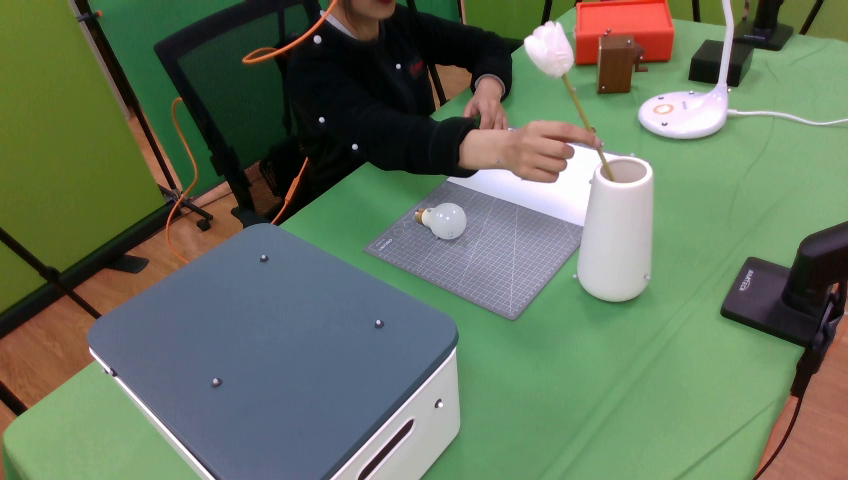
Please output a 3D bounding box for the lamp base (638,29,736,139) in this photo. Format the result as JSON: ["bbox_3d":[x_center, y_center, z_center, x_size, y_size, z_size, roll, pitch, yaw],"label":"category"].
[{"bbox_3d":[0.501,-0.302,1.125,0.179,0.181,0.160,-4,40,3],"label":"lamp base"}]

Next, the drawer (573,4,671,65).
[{"bbox_3d":[0.461,-0.490,1.435,0.211,0.073,0.194,2,41,12],"label":"drawer"}]

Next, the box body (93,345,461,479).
[{"bbox_3d":[-0.162,0.170,0.708,0.361,0.161,0.255,25,50,34],"label":"box body"}]

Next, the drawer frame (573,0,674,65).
[{"bbox_3d":[0.464,-0.492,1.434,0.213,0.083,0.201,1,40,12],"label":"drawer frame"}]

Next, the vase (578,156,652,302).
[{"bbox_3d":[0.261,-0.011,0.812,0.098,0.201,0.097,-4,40,4],"label":"vase"}]

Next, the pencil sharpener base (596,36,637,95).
[{"bbox_3d":[0.406,-0.369,1.280,0.076,0.107,0.061,1,41,13],"label":"pencil sharpener base"}]

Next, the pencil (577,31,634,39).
[{"bbox_3d":[0.431,-0.488,1.443,0.012,0.012,0.192,-25,30,-18],"label":"pencil"}]

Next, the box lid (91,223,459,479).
[{"bbox_3d":[-0.174,0.102,0.666,0.368,0.015,0.264,24,48,35],"label":"box lid"}]

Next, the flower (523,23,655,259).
[{"bbox_3d":[0.223,-0.105,0.760,0.044,0.364,0.038,-30,27,13],"label":"flower"}]

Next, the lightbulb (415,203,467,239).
[{"bbox_3d":[0.024,-0.034,0.999,0.060,0.060,0.107,-38,32,-30],"label":"lightbulb"}]

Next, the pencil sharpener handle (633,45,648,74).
[{"bbox_3d":[0.454,-0.378,1.262,0.030,0.068,0.036,1,47,13],"label":"pencil sharpener handle"}]
